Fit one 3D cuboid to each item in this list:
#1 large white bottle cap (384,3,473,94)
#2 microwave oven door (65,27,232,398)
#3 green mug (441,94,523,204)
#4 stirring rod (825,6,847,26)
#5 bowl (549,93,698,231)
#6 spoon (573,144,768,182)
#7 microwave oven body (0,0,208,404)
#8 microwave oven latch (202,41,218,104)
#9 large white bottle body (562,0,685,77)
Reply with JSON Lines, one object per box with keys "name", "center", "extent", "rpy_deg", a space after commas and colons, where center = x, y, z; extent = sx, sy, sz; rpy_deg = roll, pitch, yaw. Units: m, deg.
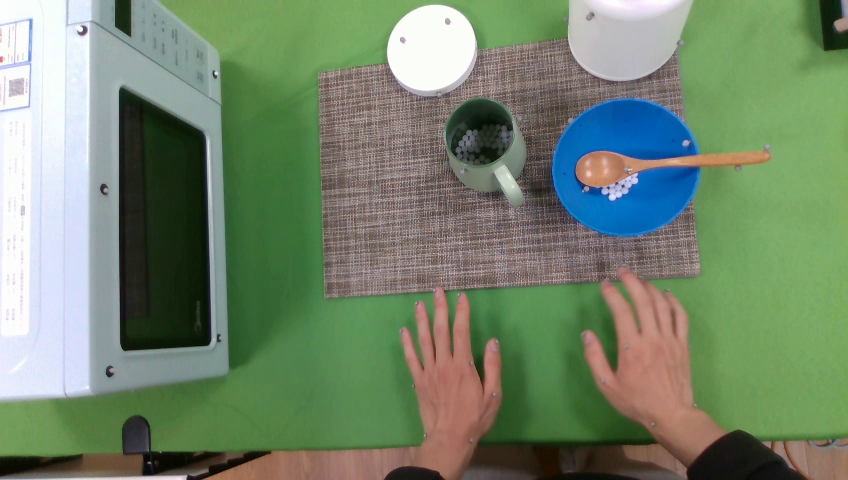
{"name": "large white bottle cap", "center": [0.005, -0.244, 0.770], "extent": [0.114, 0.018, 0.114], "rpy_deg": [-2, 82, 11]}
{"name": "microwave oven door", "center": [-0.299, -0.018, 0.678], "extent": [0.039, 0.245, 0.354], "rpy_deg": [-7, 82, 11]}
{"name": "green mug", "center": [0.075, -0.098, 0.695], "extent": [0.092, 0.105, 0.124], "rpy_deg": [-32, 78, 6]}
{"name": "stirring rod", "center": [0.510, -0.261, 0.629], "extent": [0.176, 0.006, 0.014], "rpy_deg": [-19, 86, 10]}
{"name": "bowl", "center": [0.217, -0.079, 0.677], "extent": [0.151, 0.077, 0.151], "rpy_deg": [-1, 83, 12]}
{"name": "spoon", "center": [0.253, -0.086, 0.641], "extent": [0.192, 0.022, 0.041], "rpy_deg": [0, 86, 36]}
{"name": "microwave oven body", "center": [-0.444, -0.042, 0.716], "extent": [0.325, 0.261, 0.440], "rpy_deg": [-6, 83, 10]}
{"name": "microwave oven latch", "center": [-0.293, -0.221, 0.804], "extent": [0.030, 0.029, 0.079], "rpy_deg": [-6, 83, 10]}
{"name": "large white bottle body", "center": [0.214, -0.272, 0.645], "extent": [0.130, 0.185, 0.130], "rpy_deg": [-2, 79, 12]}
